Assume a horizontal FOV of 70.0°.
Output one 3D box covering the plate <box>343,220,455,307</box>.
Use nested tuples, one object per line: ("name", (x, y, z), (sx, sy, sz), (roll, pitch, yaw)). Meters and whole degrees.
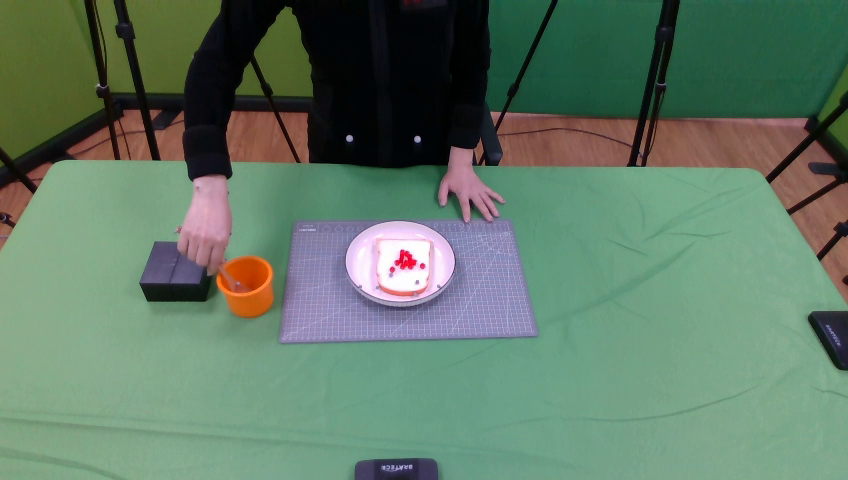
("plate", (-0.047, 0.046, 1.135), (0.209, 0.038, 0.208), (2, 46, -2))

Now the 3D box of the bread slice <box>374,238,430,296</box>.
("bread slice", (-0.039, 0.048, 1.135), (0.107, 0.018, 0.133), (-1, 47, -4))

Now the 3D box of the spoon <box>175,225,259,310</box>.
("spoon", (-0.347, 0.047, 1.023), (0.021, 0.194, 0.041), (-13, 32, 35))
